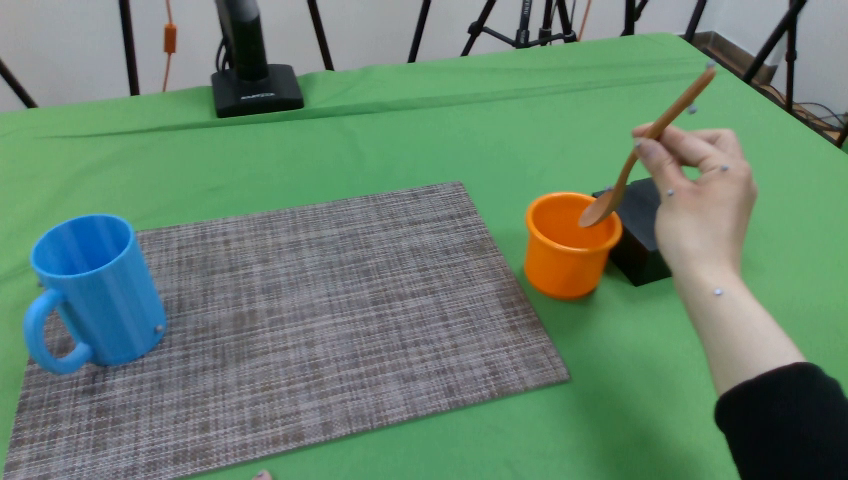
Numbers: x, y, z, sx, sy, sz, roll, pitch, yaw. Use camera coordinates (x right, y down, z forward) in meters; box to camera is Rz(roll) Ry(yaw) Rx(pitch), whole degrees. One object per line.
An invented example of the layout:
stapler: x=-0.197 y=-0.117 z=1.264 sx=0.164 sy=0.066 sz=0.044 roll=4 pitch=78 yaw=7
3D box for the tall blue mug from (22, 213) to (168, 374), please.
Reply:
tall blue mug: x=-0.270 y=0.053 z=0.504 sx=0.078 sy=0.109 sz=0.106 roll=-4 pitch=42 yaw=-8

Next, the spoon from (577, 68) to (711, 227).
spoon: x=0.174 y=-0.068 z=0.501 sx=0.021 sy=0.195 sz=0.041 roll=28 pitch=57 yaw=7
